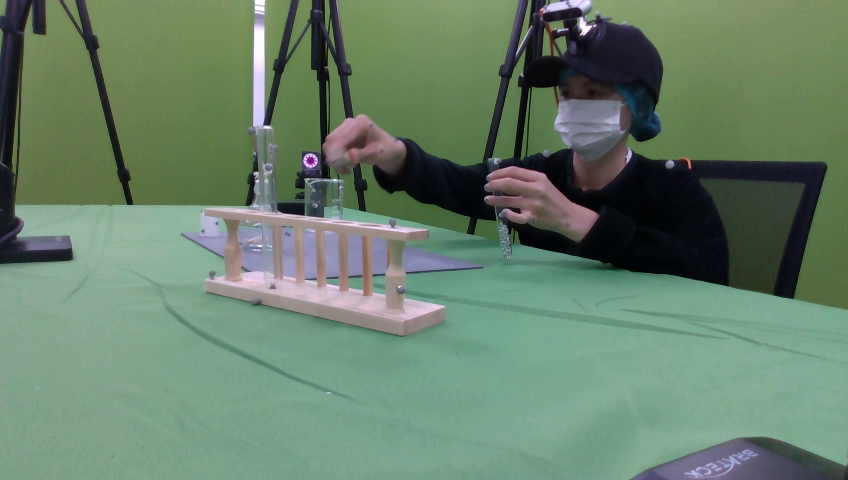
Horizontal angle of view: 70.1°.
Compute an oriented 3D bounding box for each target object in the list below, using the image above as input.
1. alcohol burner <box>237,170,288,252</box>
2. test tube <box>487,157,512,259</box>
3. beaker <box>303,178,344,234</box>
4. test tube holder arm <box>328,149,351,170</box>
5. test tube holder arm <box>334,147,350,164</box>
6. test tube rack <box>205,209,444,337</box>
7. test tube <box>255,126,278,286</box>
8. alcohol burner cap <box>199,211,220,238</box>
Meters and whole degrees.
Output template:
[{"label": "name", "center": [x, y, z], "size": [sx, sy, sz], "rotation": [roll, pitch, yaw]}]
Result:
[{"label": "alcohol burner", "center": [-0.236, -0.042, 0.882], "size": [0.078, 0.119, 0.078], "rotation": [2, 9, 0]}, {"label": "test tube", "center": [0.109, -0.046, 0.874], "size": [0.017, 0.150, 0.017], "rotation": [-9, 7, 1]}, {"label": "beaker", "center": [-0.189, -0.063, 1.119], "size": [0.073, 0.100, 0.084], "rotation": [7, 9, 28]}, {"label": "test tube holder arm", "center": [-0.104, -0.100, 0.759], "size": [0.013, 0.015, 0.178], "rotation": [-9, 4, -3]}, {"label": "test tube holder arm", "center": [-0.096, -0.099, 0.714], "size": [0.010, 0.015, 0.088], "rotation": [-9, 4, -1]}, {"label": "test tube rack", "center": [-0.100, 0.021, 0.565], "size": [0.241, 0.085, 0.067], "rotation": [7, 8, 32]}, {"label": "test tube", "center": [-0.147, -0.031, 0.566], "size": [0.017, 0.150, 0.017], "rotation": [0, 7, 0]}, {"label": "alcohol burner cap", "center": [-0.356, -0.027, 1.002], "size": [0.034, 0.048, 0.034], "rotation": [3, 7, 0]}]
